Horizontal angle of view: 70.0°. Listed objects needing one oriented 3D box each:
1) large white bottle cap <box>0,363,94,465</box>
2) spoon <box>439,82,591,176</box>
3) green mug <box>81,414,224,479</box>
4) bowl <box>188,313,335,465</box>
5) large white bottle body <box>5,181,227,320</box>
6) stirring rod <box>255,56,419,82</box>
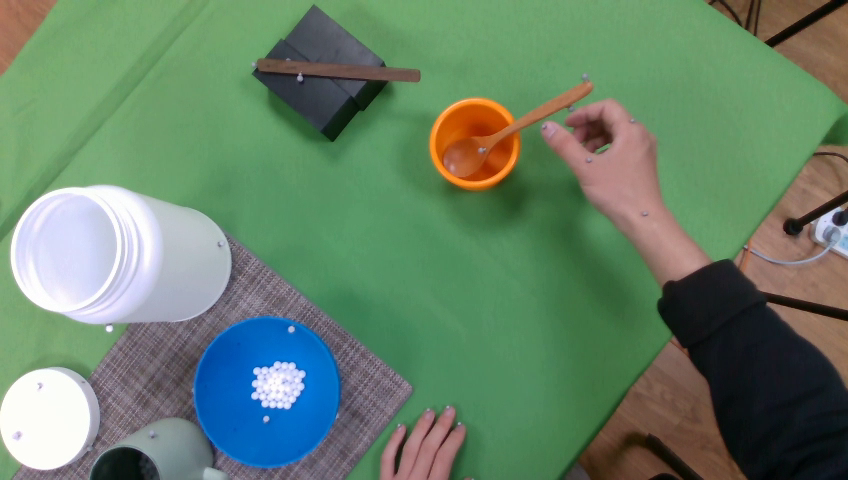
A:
[{"bbox_3d":[-0.436,0.199,0.693,0.115,0.018,0.114,0,86,6],"label":"large white bottle cap"},{"bbox_3d":[0.083,-0.108,0.601,0.022,0.193,0.041,-7,80,-39],"label":"spoon"},{"bbox_3d":[-0.272,0.240,0.633,0.125,0.105,0.092,12,87,6],"label":"green mug"},{"bbox_3d":[-0.160,0.150,0.641,0.151,0.077,0.151,0,87,5],"label":"bowl"},{"bbox_3d":[-0.298,0.015,0.607,0.130,0.185,0.130,-1,84,8],"label":"large white bottle body"},{"bbox_3d":[-0.093,-0.180,0.637,0.176,0.006,0.014,6,122,5],"label":"stirring rod"}]
